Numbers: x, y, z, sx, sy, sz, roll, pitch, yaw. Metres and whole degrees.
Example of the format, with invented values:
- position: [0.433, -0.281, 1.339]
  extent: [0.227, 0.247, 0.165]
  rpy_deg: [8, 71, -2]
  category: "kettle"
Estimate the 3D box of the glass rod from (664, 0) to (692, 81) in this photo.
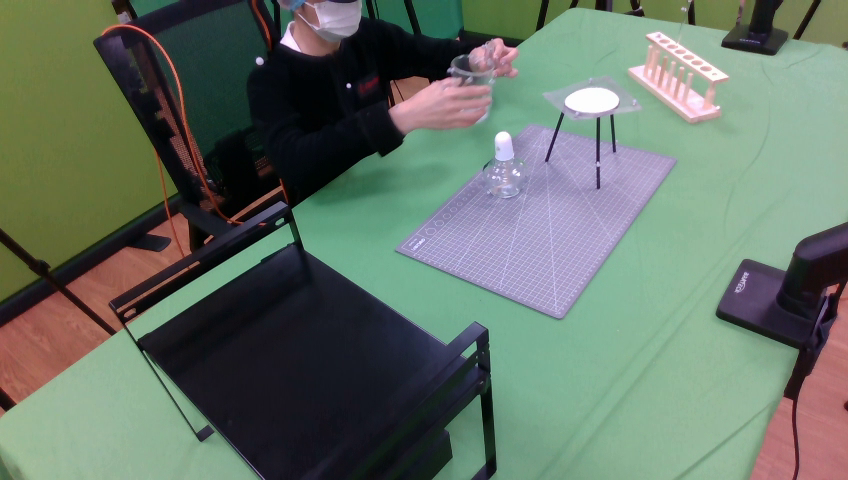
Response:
- position: [0.524, -0.419, 1.240]
  extent: [0.008, 0.200, 0.008]
  rpy_deg: [1, 42, -1]
  category: "glass rod"

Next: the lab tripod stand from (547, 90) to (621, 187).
- position: [0.289, -0.184, 1.062]
  extent: [0.148, 0.132, 0.147]
  rpy_deg: [-6, 41, 6]
  category: "lab tripod stand"

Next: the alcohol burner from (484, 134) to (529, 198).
- position: [0.141, -0.133, 1.041]
  extent: [0.078, 0.119, 0.077]
  rpy_deg: [-5, 43, 5]
  category: "alcohol burner"

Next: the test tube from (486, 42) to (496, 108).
- position: [0.129, -0.314, 1.162]
  extent: [0.017, 0.151, 0.017]
  rpy_deg: [-2, 53, 3]
  category: "test tube"

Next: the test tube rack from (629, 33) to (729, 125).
- position: [0.516, -0.337, 1.248]
  extent: [0.067, 0.085, 0.240]
  rpy_deg: [-14, 41, -7]
  category: "test tube rack"

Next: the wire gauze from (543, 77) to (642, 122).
- position: [0.282, -0.236, 1.020]
  extent: [0.125, 0.011, 0.120]
  rpy_deg: [-15, 40, -6]
  category: "wire gauze"

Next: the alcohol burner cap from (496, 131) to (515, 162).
- position: [0.135, -0.160, 1.019]
  extent: [0.034, 0.048, 0.033]
  rpy_deg: [-7, 38, 6]
  category: "alcohol burner cap"

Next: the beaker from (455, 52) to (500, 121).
- position: [0.092, -0.268, 1.061]
  extent: [0.074, 0.100, 0.084]
  rpy_deg: [9, 42, 9]
  category: "beaker"
